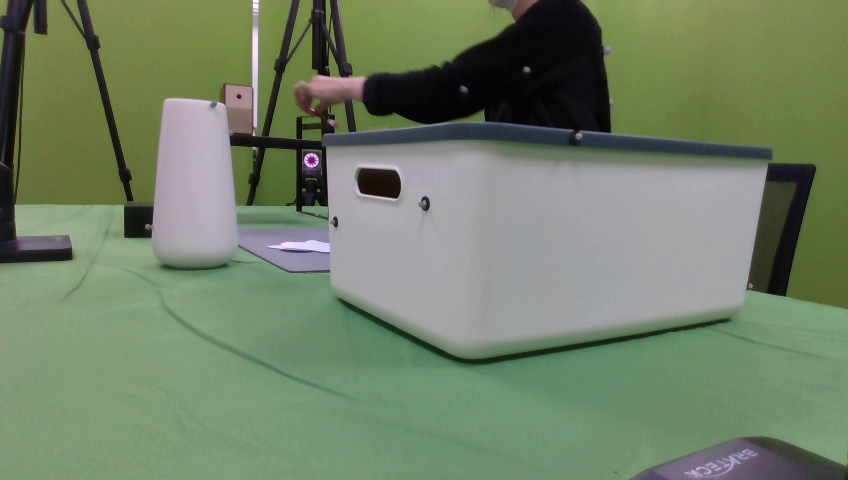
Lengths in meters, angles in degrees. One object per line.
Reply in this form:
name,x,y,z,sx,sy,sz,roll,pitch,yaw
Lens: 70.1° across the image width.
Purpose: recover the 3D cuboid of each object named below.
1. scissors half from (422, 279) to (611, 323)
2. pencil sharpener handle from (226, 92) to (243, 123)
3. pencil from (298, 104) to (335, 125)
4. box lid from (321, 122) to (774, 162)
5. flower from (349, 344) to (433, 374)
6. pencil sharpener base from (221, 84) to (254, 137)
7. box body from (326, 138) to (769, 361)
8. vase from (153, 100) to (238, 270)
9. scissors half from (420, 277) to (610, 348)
scissors half,0.073,0.057,0.524,0.174,0.040,0.013,5,39,30
pencil sharpener handle,-0.431,-0.301,1.375,0.036,0.068,0.030,-14,13,-24
pencil,-0.229,-0.265,1.260,0.012,0.012,0.193,-2,23,-33
box lid,0.114,-0.085,0.573,0.373,0.015,0.262,-2,7,-33
flower,0.103,0.072,0.592,0.362,0.044,0.038,-17,44,-9
pencil sharpener base,-0.411,-0.282,1.330,0.061,0.107,0.076,-1,8,-26
box body,0.112,-0.010,0.583,0.366,0.160,0.253,-2,9,-33
vase,-0.278,-0.066,0.736,0.098,0.200,0.098,2,9,0
scissors half,0.076,0.067,0.533,0.174,0.040,0.013,14,50,24
